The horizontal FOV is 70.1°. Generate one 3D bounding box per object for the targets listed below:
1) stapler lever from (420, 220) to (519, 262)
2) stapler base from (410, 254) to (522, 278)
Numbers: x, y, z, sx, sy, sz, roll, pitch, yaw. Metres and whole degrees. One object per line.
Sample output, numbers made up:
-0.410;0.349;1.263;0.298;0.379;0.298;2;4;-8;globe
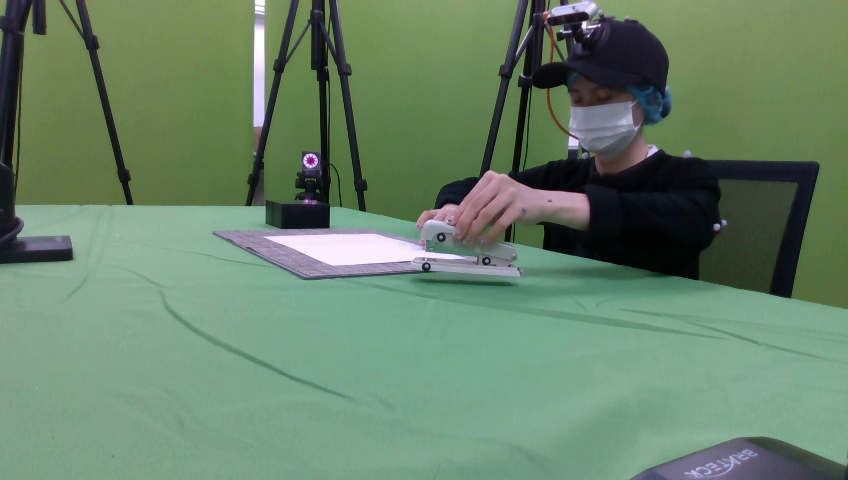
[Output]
0.054;0.001;0.712;0.118;0.040;0.027;6;8;-3;stapler lever
0.050;0.026;0.714;0.131;0.024;0.041;6;8;-3;stapler base
